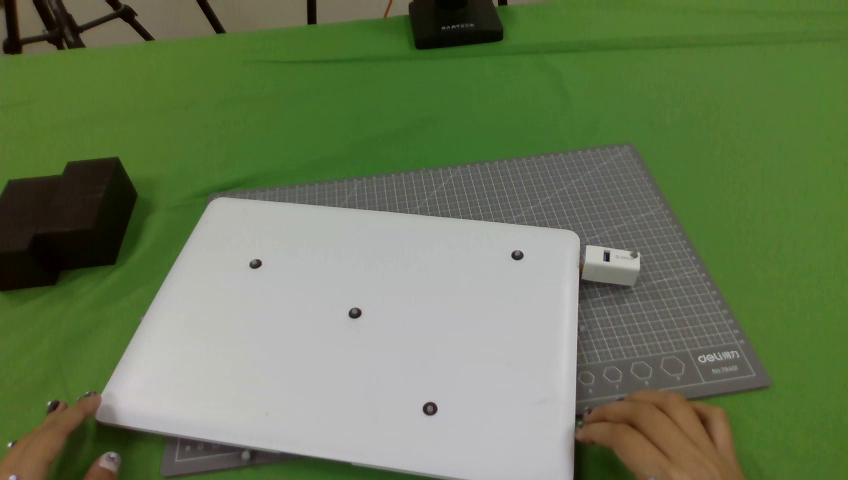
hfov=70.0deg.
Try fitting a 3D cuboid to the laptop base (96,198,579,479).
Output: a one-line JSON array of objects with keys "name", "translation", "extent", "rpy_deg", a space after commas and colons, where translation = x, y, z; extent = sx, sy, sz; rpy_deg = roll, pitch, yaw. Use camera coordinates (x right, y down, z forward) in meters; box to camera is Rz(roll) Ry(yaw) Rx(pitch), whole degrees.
[{"name": "laptop base", "translation": [-0.055, 0.068, 0.501], "extent": [0.354, 0.023, 0.233], "rpy_deg": [6, 52, 9]}]

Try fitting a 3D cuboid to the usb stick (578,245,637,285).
[{"name": "usb stick", "translation": [0.149, 0.021, 0.515], "extent": [0.059, 0.027, 0.021], "rpy_deg": [6, 50, 12]}]

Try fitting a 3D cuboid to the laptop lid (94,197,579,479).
[{"name": "laptop lid", "translation": [-0.056, 0.062, 0.491], "extent": [0.356, 0.013, 0.239], "rpy_deg": [7, 51, 10]}]
